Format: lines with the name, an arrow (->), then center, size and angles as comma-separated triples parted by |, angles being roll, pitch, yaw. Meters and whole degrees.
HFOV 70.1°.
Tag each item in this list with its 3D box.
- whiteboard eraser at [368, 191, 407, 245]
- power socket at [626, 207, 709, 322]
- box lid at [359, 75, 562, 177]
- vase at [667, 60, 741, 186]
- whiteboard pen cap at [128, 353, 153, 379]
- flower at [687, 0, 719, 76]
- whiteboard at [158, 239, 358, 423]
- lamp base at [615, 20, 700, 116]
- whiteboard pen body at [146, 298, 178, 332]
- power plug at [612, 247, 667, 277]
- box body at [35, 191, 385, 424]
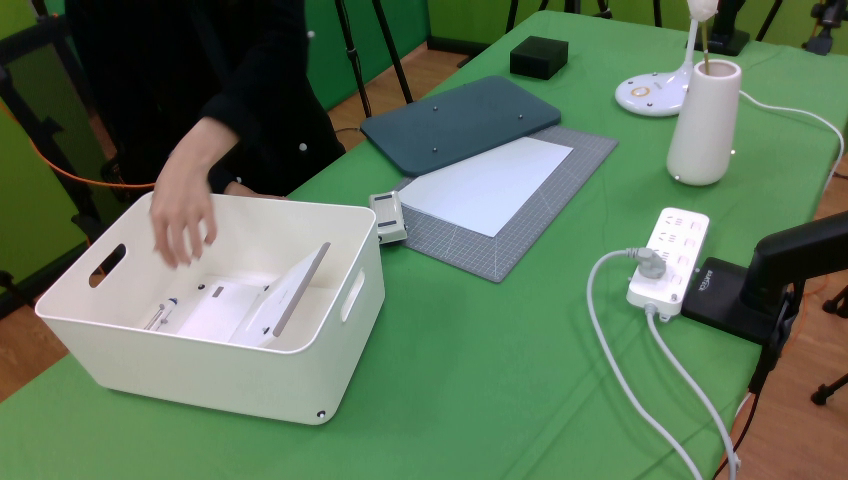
whiteboard eraser -> -0.061, -0.035, 1.005 | 0.056, 0.042, 0.112 | -9, 40, -4
power socket -> 0.360, 0.026, 0.886 | 0.072, 0.033, 0.227 | 17, 46, 27
box lid -> 0.074, -0.249, 1.267 | 0.373, 0.015, 0.261 | -23, 42, -18
vase -> 0.463, -0.189, 0.995 | 0.098, 0.201, 0.097 | -4, 40, 3
whiteboard pen cap -> -0.384, 0.171, 0.821 | 0.018, 0.018, 0.033 | 8, 43, 17
flower -> 0.436, -0.242, 0.934 | 0.038, 0.364, 0.043 | -24, 49, 9
whiteboard -> -0.242, 0.093, 0.809 | 0.304, 0.144, 0.216 | 5, 44, 13
lamp base -> 0.484, -0.364, 1.211 | 0.180, 0.181, 0.159 | -15, 41, -14
whiteboard pen body -> -0.396, 0.138, 0.868 | 0.017, 0.017, 0.140 | 6, 42, 15
power plug -> 0.306, 0.031, 0.852 | 0.072, 0.053, 0.035 | 21, 48, 38
box body -> -0.254, 0.081, 0.807 | 0.363, 0.161, 0.253 | 5, 42, 14
